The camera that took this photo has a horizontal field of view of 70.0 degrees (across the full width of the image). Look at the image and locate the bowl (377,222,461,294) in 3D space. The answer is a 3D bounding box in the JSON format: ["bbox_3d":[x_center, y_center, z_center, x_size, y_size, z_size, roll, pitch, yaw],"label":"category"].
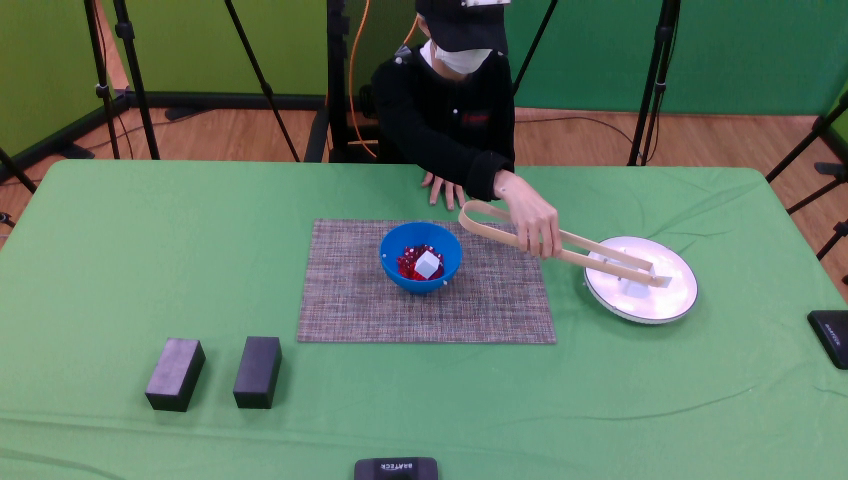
[{"bbox_3d":[-0.010,0.046,1.110,0.151,0.077,0.150,2,46,-2],"label":"bowl"}]

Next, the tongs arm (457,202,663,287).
[{"bbox_3d":[0.243,0.009,1.079,0.385,0.026,0.050,16,49,-7],"label":"tongs arm"}]

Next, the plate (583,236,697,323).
[{"bbox_3d":[0.403,0.078,1.144,0.209,0.038,0.208,2,45,-2],"label":"plate"}]

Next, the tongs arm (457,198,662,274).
[{"bbox_3d":[0.247,-0.006,1.094,0.388,0.028,0.028,19,52,-4],"label":"tongs arm"}]
